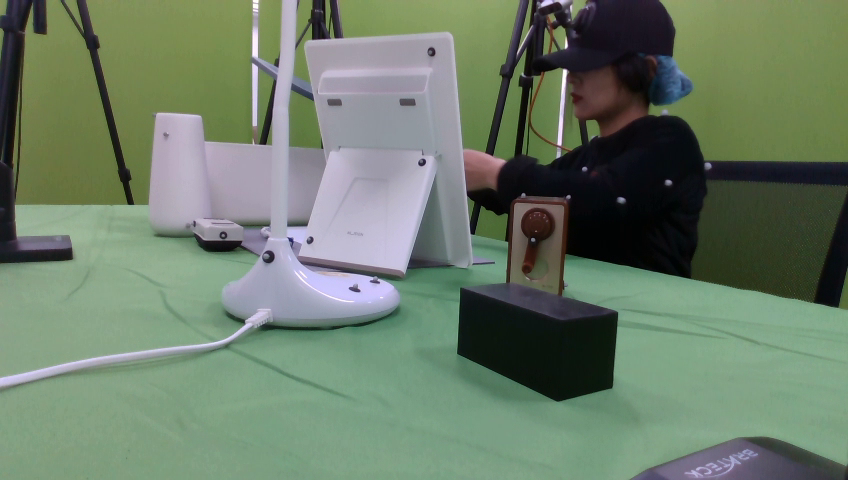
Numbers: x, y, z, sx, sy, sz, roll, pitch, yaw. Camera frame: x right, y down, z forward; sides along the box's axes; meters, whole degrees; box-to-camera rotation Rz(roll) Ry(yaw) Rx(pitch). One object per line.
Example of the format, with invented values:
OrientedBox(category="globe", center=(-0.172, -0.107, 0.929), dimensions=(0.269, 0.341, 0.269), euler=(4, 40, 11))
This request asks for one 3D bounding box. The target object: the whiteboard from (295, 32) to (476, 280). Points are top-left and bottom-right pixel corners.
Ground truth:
OrientedBox(category="whiteboard", center=(-0.076, -0.084, 0.747), dimensions=(0.216, 0.305, 0.144), euler=(7, 28, 29))

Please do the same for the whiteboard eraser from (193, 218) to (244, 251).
OrientedBox(category="whiteboard eraser", center=(-0.308, -0.009, 0.901), dimensions=(0.056, 0.042, 0.112), euler=(-3, 10, -29))

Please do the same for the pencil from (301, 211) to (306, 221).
OrientedBox(category="pencil", center=(-0.268, -0.056, 1.351), dimensions=(0.012, 0.012, 0.193), euler=(1, 6, -11))

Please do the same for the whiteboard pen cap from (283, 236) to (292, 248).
OrientedBox(category="whiteboard pen cap", center=(-0.211, 0.003, 0.913), dimensions=(0.018, 0.018, 0.033), euler=(-2, 6, -28))

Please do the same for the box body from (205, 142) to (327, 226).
OrientedBox(category="box body", center=(-0.363, -0.123, 1.293), dimensions=(0.366, 0.160, 0.253), euler=(-2, 9, -32))

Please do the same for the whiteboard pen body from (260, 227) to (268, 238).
OrientedBox(category="whiteboard pen body", center=(-0.239, -0.004, 0.965), dimensions=(0.017, 0.017, 0.140), euler=(-2, 9, -28))

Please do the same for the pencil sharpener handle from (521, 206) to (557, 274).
OrientedBox(category="pencil sharpener handle", center=(0.112, 0.000, 0.611), dimensions=(0.036, 0.067, 0.031), euler=(13, 10, 11))

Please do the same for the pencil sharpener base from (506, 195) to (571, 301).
OrientedBox(category="pencil sharpener base", center=(0.126, 0.007, 0.662), dimensions=(0.061, 0.107, 0.077), euler=(4, 8, 13))

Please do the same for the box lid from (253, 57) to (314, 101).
OrientedBox(category="box lid", center=(-0.133, -0.246, 1.175), dimensions=(0.374, 0.015, 0.262), euler=(19, 14, -38))

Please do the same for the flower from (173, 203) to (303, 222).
OrientedBox(category="flower", center=(-0.382, -0.060, 1.309), dimensions=(0.044, 0.038, 0.363), euler=(0, 3, 29))

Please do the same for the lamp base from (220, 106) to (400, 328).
OrientedBox(category="lamp base", center=(-0.102, -0.023, 0.531), dimensions=(0.160, 0.180, 0.179), euler=(4, 10, 10))

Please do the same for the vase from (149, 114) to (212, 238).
OrientedBox(category="vase", center=(-0.405, -0.106, 1.006), dimensions=(0.098, 0.200, 0.098), euler=(2, 7, 0))
